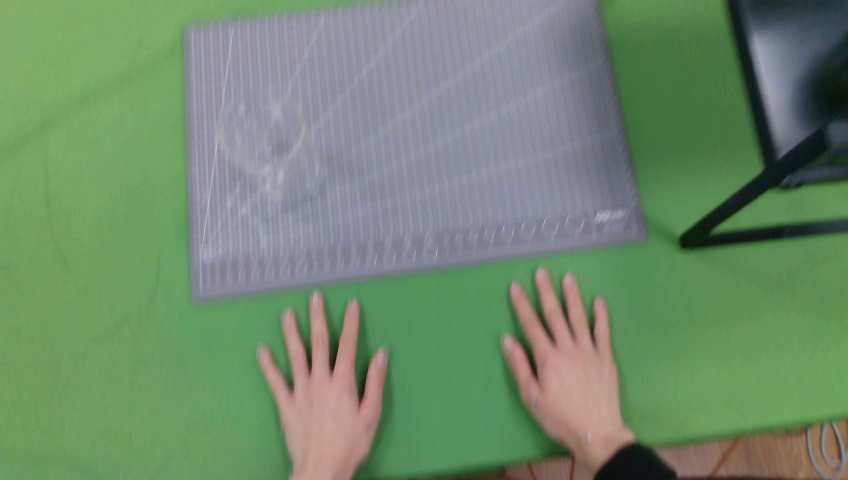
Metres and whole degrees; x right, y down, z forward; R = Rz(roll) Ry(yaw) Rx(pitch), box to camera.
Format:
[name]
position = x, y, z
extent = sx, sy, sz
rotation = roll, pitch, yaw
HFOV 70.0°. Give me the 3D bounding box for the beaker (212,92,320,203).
[beaker]
position = -0.144, -0.082, 0.575
extent = 0.084, 0.101, 0.073
rotation = 2, 75, 2
